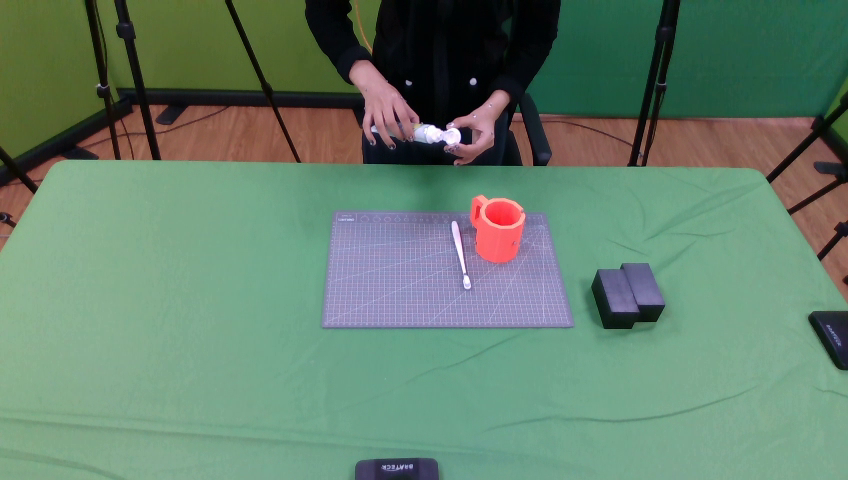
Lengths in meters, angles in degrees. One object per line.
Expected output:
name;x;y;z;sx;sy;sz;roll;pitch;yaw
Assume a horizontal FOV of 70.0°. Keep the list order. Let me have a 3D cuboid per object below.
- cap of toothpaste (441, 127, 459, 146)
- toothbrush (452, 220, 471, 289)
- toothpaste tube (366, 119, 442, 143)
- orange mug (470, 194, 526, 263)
cap of toothpaste;0.050;-0.198;1.154;0.037;0.037;0.011;30;19;23
toothbrush;0.071;0.024;1.180;0.014;0.017;0.180;-13;45;5
toothpaste tube;-0.034;-0.217;1.184;0.164;0.034;0.055;15;35;30
orange mug;0.136;-0.030;1.180;0.083;0.101;0.125;-26;58;-26
